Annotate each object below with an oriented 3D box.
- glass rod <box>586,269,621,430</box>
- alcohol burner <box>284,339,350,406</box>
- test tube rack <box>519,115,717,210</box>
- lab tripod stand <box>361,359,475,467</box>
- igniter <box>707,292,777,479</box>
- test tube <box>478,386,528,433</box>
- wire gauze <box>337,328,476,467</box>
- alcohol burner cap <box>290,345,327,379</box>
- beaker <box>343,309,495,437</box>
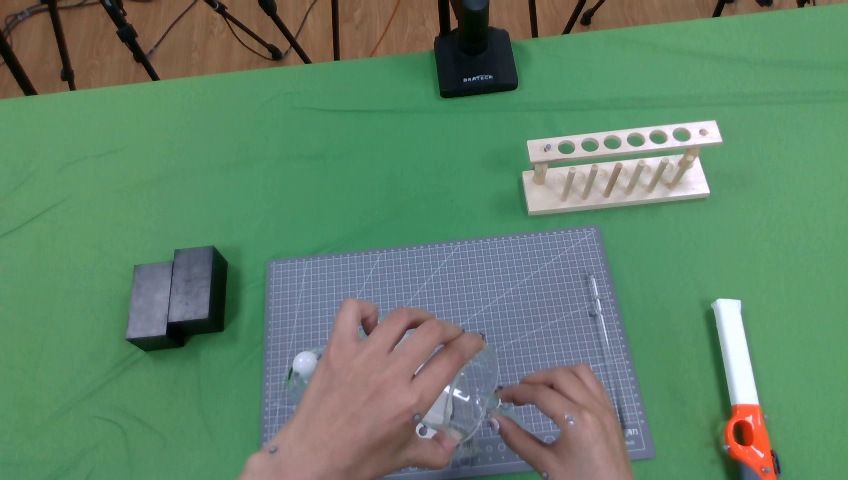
[{"bbox_3d":[0.218,0.128,0.736,0.008,0.008,0.198,-5,67,1],"label":"glass rod"},{"bbox_3d":[-0.125,0.146,0.690,0.078,0.120,0.077,-2,62,3],"label":"alcohol burner"},{"bbox_3d":[0.254,-0.101,0.804,0.242,0.086,0.066,-6,64,1],"label":"test tube rack"},{"bbox_3d":[-0.015,0.185,0.653,0.148,0.132,0.147,-2,63,5],"label":"lab tripod stand"},{"bbox_3d":[0.361,0.191,0.689,0.057,0.025,0.274,5,65,-5],"label":"igniter"},{"bbox_3d":[0.074,0.155,0.546,0.017,0.152,0.017,-9,62,17],"label":"test tube"},{"bbox_3d":[-0.020,0.152,0.594,0.125,0.011,0.120,-9,63,-1],"label":"wire gauze"},{"bbox_3d":[-0.127,0.131,0.657,0.034,0.048,0.033,-3,68,8],"label":"alcohol burner cap"},{"bbox_3d":[-0.004,0.099,0.473,0.099,0.085,0.074,16,79,31],"label":"beaker"}]
